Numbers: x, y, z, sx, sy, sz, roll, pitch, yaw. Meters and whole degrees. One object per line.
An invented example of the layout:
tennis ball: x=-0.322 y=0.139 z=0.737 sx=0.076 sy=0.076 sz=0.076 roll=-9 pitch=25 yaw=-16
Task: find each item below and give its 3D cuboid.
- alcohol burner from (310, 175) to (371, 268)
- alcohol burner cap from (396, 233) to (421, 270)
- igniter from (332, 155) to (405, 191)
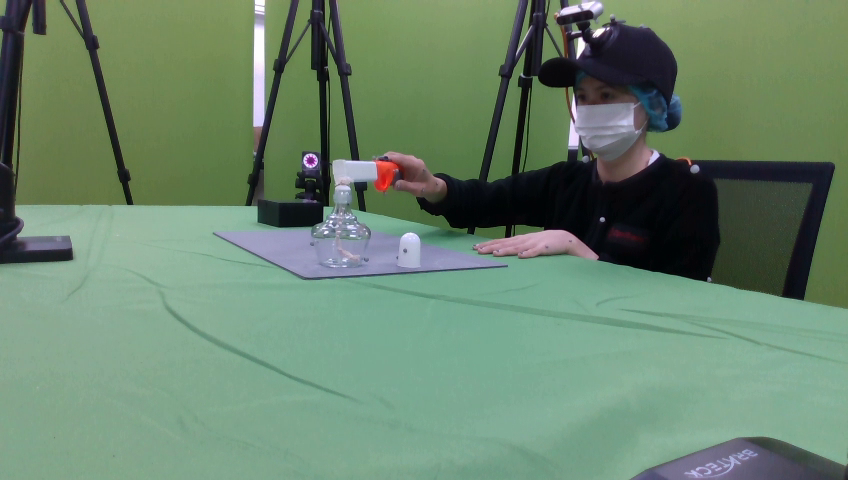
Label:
alcohol burner: x=-0.107 y=-0.024 z=0.778 sx=0.078 sy=0.119 sz=0.078 roll=3 pitch=5 yaw=0
alcohol burner cap: x=-0.020 y=0.014 z=0.795 sx=0.034 sy=0.048 sz=0.034 roll=2 pitch=6 yaw=0
igniter: x=-0.076 y=-0.103 z=0.921 sx=0.025 sy=0.057 sz=0.277 roll=-2 pitch=5 yaw=15
